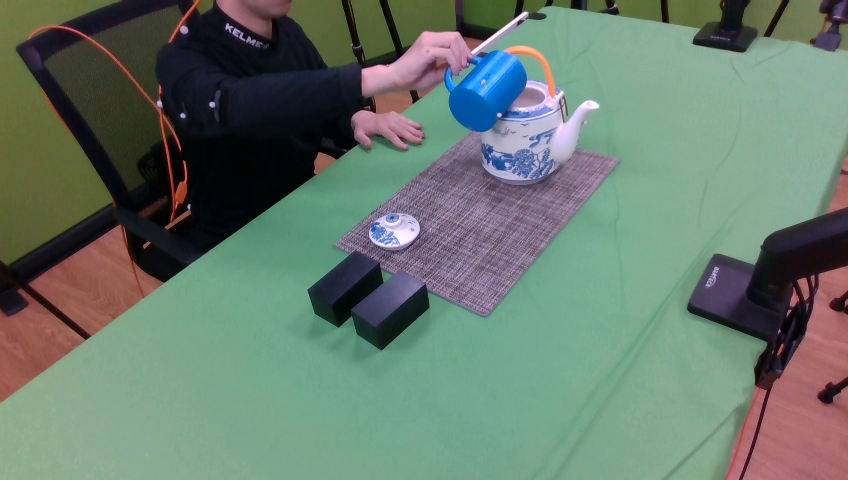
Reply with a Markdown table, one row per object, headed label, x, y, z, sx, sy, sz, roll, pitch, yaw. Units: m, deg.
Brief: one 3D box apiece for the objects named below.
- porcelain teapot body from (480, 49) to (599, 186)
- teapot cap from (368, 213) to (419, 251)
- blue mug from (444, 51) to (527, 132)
| label | x | y | z | sx | sy | sz | roll | pitch | yaw |
| --- | --- | --- | --- | --- | --- | --- | --- | --- | --- |
| porcelain teapot body | 0.193 | -0.208 | 1.024 | 0.204 | 0.226 | 0.145 | 16 | 46 | 25 |
| teapot cap | -0.050 | -0.019 | 0.975 | 0.085 | 0.044 | 0.085 | -4 | 43 | 4 |
| blue mug | 0.087 | -0.242 | 0.944 | 0.116 | 0.082 | 0.106 | 37 | 62 | 4 |
